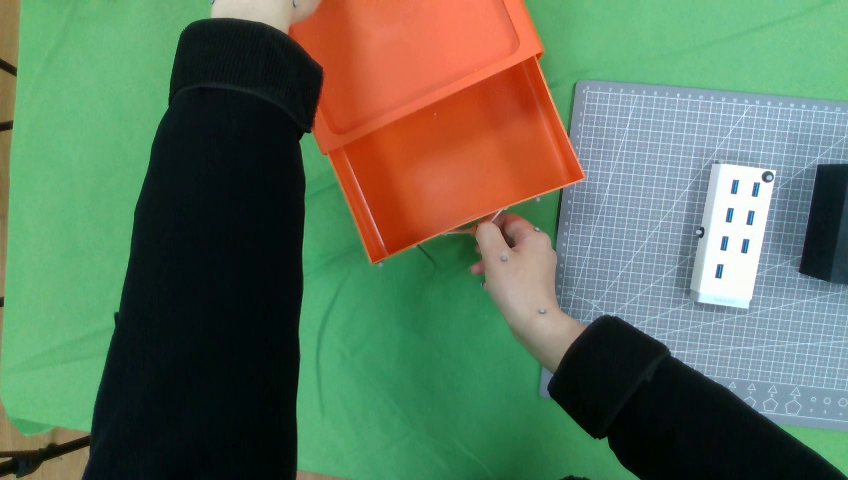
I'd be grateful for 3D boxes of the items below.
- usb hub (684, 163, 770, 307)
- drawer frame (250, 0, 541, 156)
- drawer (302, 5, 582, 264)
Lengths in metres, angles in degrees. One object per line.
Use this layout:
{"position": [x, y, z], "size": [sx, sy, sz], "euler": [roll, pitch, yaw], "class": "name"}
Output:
{"position": [0.272, -0.004, 0.545], "size": [0.049, 0.025, 0.125], "euler": [7, 98, 3], "class": "usb hub"}
{"position": [-0.037, -0.205, 0.513], "size": [0.201, 0.082, 0.214], "euler": [-24, 94, 6], "class": "drawer frame"}
{"position": [0.005, -0.111, 0.524], "size": [0.194, 0.073, 0.212], "euler": [-21, 95, 6], "class": "drawer"}
